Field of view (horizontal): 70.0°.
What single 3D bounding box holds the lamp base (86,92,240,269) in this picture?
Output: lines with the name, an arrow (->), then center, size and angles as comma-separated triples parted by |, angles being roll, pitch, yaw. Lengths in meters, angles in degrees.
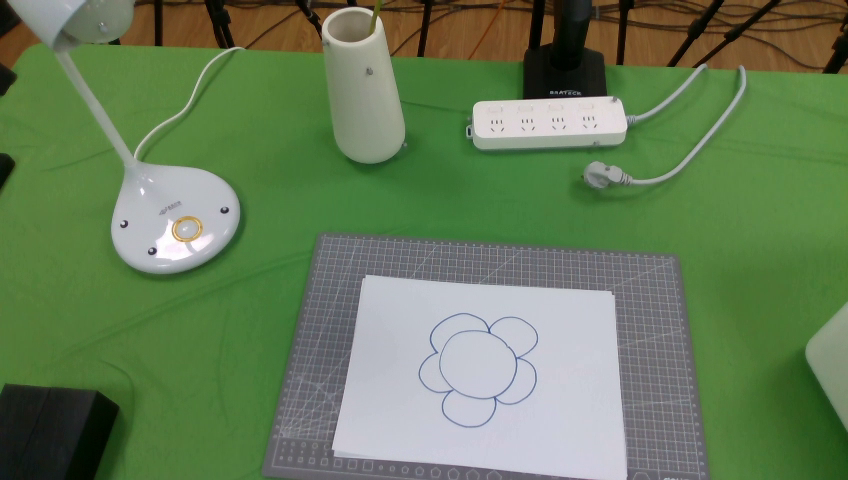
lamp base -> -0.331, -0.079, 0.721 | 0.178, 0.182, 0.160 | 33, 64, 24

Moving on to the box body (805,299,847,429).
box body -> 0.560, 0.189, 0.532 | 0.254, 0.162, 0.360 | -12, 58, -5

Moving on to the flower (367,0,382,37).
flower -> -0.063, -0.228, 0.698 | 0.044, 0.363, 0.038 | -34, 79, -27

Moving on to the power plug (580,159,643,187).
power plug -> 0.239, -0.076, 0.788 | 0.073, 0.052, 0.035 | 37, 75, -11

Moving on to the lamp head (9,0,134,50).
lamp head -> -0.293, -0.227, 0.471 | 0.123, 0.112, 0.112 | 45, 63, -16

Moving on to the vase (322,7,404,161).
vase -> -0.079, -0.193, 0.773 | 0.098, 0.202, 0.097 | -1, 57, 3

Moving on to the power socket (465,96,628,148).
power socket -> 0.172, -0.165, 0.846 | 0.227, 0.033, 0.071 | -1, 58, 1
